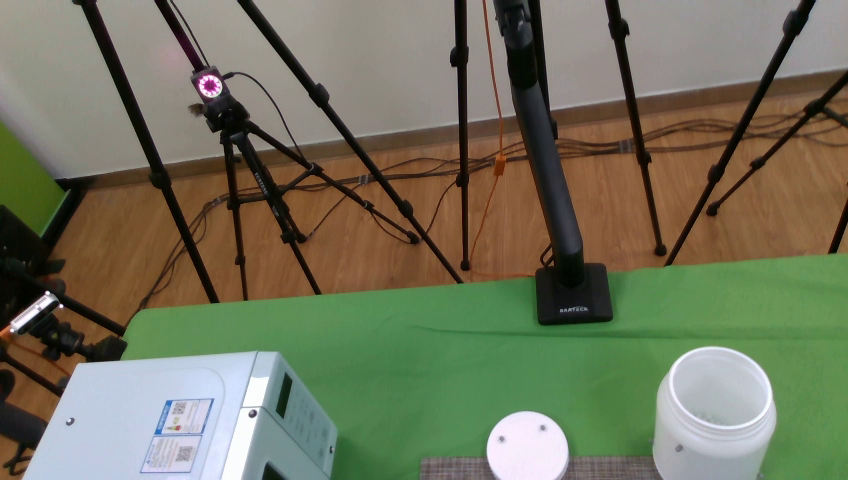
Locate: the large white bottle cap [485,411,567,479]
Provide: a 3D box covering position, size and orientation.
[{"bbox_3d":[0.144,0.298,0.860,0.114,0.018,0.113,-8,47,9],"label":"large white bottle cap"}]

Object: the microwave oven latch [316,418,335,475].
[{"bbox_3d":[-0.153,0.309,0.908,0.030,0.030,0.078,-5,49,12],"label":"microwave oven latch"}]

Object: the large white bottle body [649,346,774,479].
[{"bbox_3d":[0.350,0.226,0.747,0.130,0.186,0.129,-9,44,9],"label":"large white bottle body"}]

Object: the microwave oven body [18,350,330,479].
[{"bbox_3d":[-0.330,0.395,0.753,0.325,0.263,0.437,-6,49,11],"label":"microwave oven body"}]

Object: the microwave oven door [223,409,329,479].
[{"bbox_3d":[-0.191,0.408,0.693,0.039,0.246,0.352,-6,48,12],"label":"microwave oven door"}]
